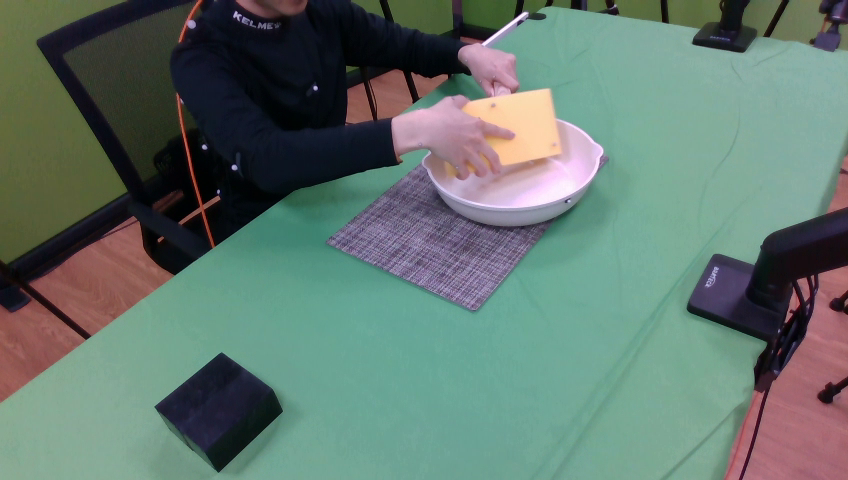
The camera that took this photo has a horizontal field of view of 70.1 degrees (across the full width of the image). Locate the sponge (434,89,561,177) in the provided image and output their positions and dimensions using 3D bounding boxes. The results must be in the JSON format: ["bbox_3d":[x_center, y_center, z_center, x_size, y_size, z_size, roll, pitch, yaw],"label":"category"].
[{"bbox_3d":[0.131,-0.188,1.056,0.208,0.118,0.060,-15,4,-24],"label":"sponge"}]

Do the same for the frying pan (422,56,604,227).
[{"bbox_3d":[0.155,-0.199,1.111,0.307,0.103,0.485,-2,49,5],"label":"frying pan"}]
